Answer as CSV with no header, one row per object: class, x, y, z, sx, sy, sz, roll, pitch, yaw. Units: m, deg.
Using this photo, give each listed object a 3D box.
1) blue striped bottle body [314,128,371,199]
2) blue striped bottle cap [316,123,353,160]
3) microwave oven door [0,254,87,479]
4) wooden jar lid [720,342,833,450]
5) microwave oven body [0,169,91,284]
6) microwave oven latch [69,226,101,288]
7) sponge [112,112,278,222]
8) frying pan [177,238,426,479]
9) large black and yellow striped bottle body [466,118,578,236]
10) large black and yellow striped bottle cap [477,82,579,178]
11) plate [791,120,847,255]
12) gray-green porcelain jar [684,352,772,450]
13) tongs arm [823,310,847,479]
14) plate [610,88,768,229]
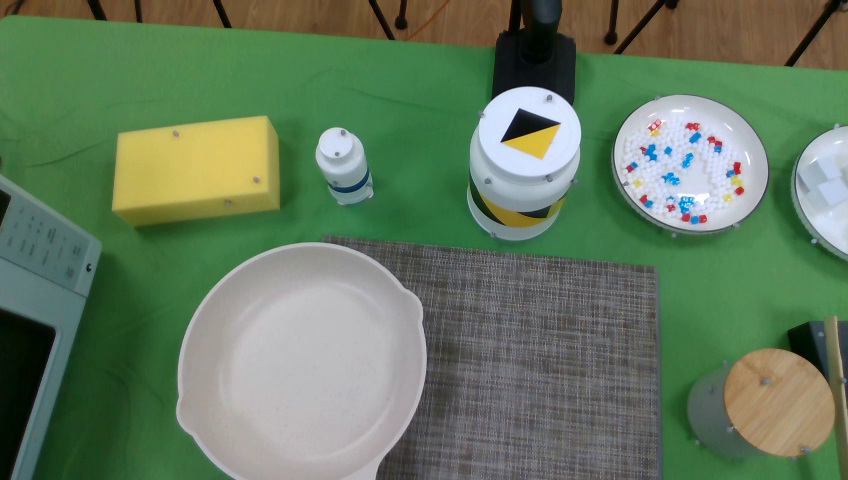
blue striped bottle body,-0.108,-0.106,0.803,0.063,0.121,0.062,-1,71,2
blue striped bottle cap,-0.111,-0.123,0.754,0.044,0.021,0.044,0,70,-1
microwave oven door,-0.482,0.192,0.628,0.039,0.245,0.353,5,71,5
wooden jar lid,0.361,0.160,0.625,0.108,0.021,0.107,-2,73,6
microwave oven body,-0.622,0.140,0.656,0.326,0.262,0.439,6,72,4
microwave oven latch,-0.450,0.021,0.794,0.030,0.030,0.078,8,72,5
sponge,-0.312,-0.100,0.839,0.207,0.061,0.117,-8,71,-1
frying pan,-0.099,0.225,0.693,0.307,0.103,0.483,-25,64,-6
large black and yellow striped bottle body,0.119,-0.095,0.759,0.131,0.185,0.130,-1,70,2
large black and yellow striped bottle cap,0.116,-0.125,0.680,0.115,0.019,0.114,0,72,2
plate,0.594,-0.063,0.808,0.207,0.039,0.206,-1,71,2
gray-green porcelain jar,0.363,0.182,0.684,0.106,0.127,0.105,-1,70,2
tongs arm,0.486,0.270,0.667,0.051,0.026,0.383,1,81,0
plate,0.358,-0.109,0.833,0.209,0.038,0.207,-1,71,2
